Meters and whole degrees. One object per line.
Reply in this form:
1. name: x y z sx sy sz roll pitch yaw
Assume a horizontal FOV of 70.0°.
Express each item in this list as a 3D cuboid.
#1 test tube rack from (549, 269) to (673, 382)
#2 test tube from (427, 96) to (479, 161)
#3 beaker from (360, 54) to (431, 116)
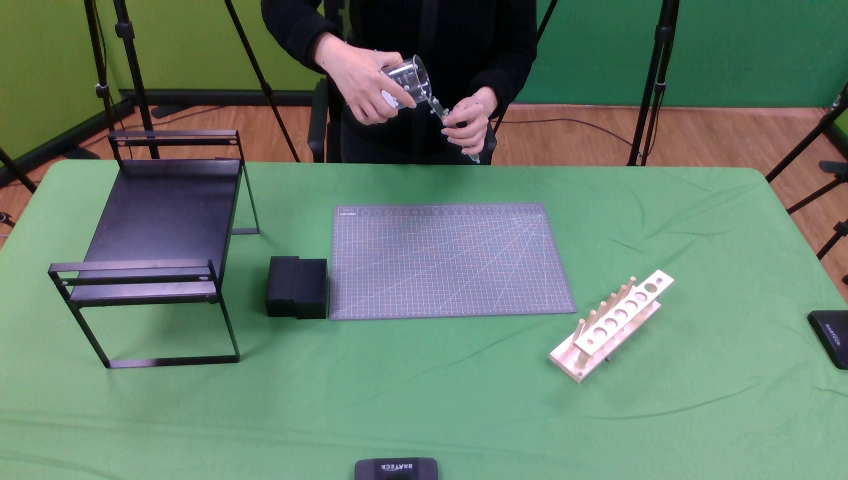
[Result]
1. test tube rack: 0.325 0.134 1.047 0.242 0.085 0.066 -32 56 -30
2. test tube: 0.053 -0.190 1.045 0.017 0.151 0.017 -26 38 23
3. beaker: -0.047 -0.248 0.991 0.100 0.084 0.073 -14 43 17
